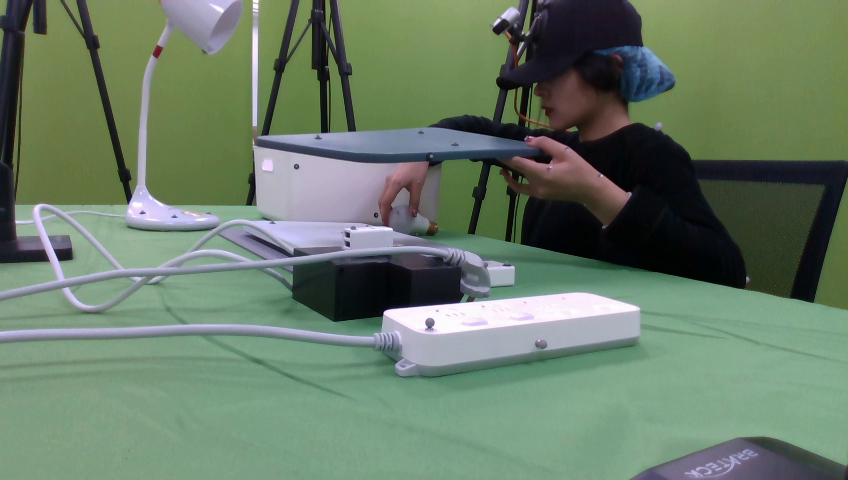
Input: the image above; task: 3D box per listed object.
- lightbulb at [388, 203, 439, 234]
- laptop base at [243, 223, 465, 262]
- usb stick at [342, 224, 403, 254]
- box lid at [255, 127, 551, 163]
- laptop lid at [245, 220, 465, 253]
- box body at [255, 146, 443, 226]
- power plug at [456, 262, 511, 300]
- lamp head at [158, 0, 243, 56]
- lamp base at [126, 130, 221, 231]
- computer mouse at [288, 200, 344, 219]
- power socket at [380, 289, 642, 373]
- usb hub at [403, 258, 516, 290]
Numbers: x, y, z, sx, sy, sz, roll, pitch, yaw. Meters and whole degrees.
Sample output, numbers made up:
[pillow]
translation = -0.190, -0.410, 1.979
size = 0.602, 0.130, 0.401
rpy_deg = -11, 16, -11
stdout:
[lightbulb]
translation = -0.018, -0.035, 1.161
size = 0.108, 0.059, 0.059
rpy_deg = 15, 1, -27
[laptop base]
translation = -0.126, 0.003, 0.945
size = 0.237, 0.023, 0.352
rpy_deg = 2, 6, -31
[usb stick]
translation = -0.047, -0.001, 0.567
size = 0.059, 0.027, 0.021
rpy_deg = 0, 5, -32
[box lid]
translation = -0.021, -0.139, 0.858
size = 0.262, 0.015, 0.373
rpy_deg = 15, 20, 42
[laptop lid]
translation = -0.124, -0.009, 0.945
size = 0.243, 0.013, 0.355
rpy_deg = 1, 7, -29
[box body]
translation = -0.169, -0.120, 1.343
size = 0.366, 0.160, 0.253
rpy_deg = -2, 8, -31
[power plug]
translation = 0.052, 0.051, 0.543
size = 0.035, 0.052, 0.072
rpy_deg = 5, 38, -21
[lamp head]
translation = -0.399, -0.397, 1.057
size = 0.123, 0.112, 0.112
rpy_deg = 27, 5, -7
[lamp base]
translation = -0.469, -0.112, 1.109
size = 0.179, 0.180, 0.160
rpy_deg = 0, 7, 3
[computer mouse]
translation = -0.234, -0.064, 1.313
size = 0.118, 0.041, 0.062
rpy_deg = 4, 3, -32
[power socket]
translation = 0.072, 0.064, 0.461
size = 0.228, 0.032, 0.072
rpy_deg = -2, 8, -30
[usb hub]
translation = 0.042, 0.038, 0.690
size = 0.126, 0.025, 0.049
rpy_deg = -2, 9, -30
